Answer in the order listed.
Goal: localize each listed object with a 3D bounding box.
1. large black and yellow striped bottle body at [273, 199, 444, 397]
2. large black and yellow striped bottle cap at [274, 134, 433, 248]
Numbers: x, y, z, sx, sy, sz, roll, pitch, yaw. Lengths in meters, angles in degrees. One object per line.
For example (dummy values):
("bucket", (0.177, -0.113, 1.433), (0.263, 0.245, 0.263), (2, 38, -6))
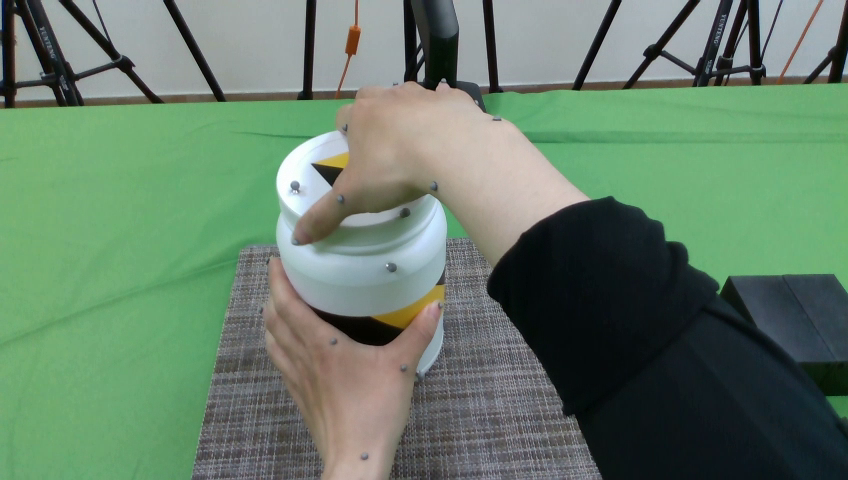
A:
("large black and yellow striped bottle body", (-0.049, 0.026, 0.496), (0.131, 0.185, 0.129), (0, 42, 0))
("large black and yellow striped bottle cap", (-0.050, -0.039, 0.438), (0.115, 0.019, 0.114), (1, 44, -1))
